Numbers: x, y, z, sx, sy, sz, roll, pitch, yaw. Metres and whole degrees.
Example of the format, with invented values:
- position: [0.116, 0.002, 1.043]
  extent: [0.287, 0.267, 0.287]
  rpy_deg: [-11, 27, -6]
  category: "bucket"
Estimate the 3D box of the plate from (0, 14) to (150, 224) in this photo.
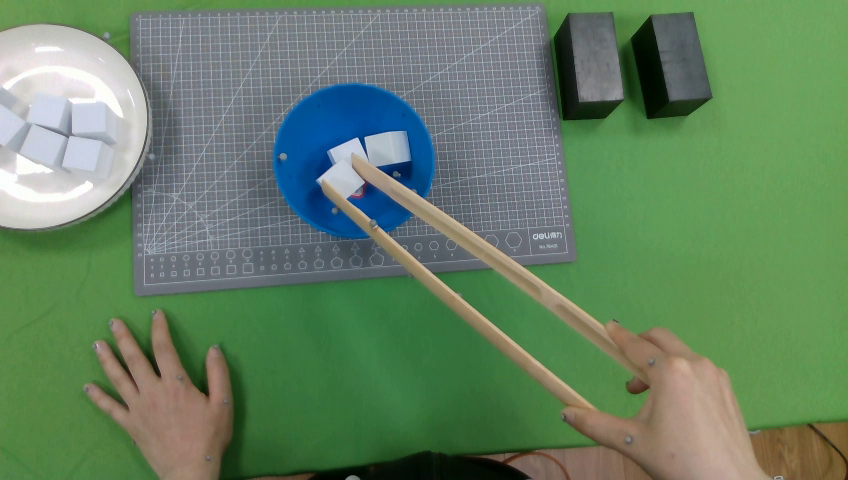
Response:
- position: [-0.371, -0.115, 0.590]
  extent: [0.208, 0.039, 0.207]
  rpy_deg: [1, 81, -6]
  category: "plate"

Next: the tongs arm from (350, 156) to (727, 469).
- position: [0.071, 0.039, 0.495]
  extent: [0.384, 0.028, 0.028]
  rpy_deg: [38, 55, 22]
  category: "tongs arm"

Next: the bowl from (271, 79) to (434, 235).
- position: [-0.069, -0.072, 0.597]
  extent: [0.152, 0.077, 0.151]
  rpy_deg: [1, 81, -7]
  category: "bowl"

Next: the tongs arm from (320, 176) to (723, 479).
- position: [0.054, 0.053, 0.483]
  extent: [0.051, 0.027, 0.381]
  rpy_deg: [-35, 63, -27]
  category: "tongs arm"
